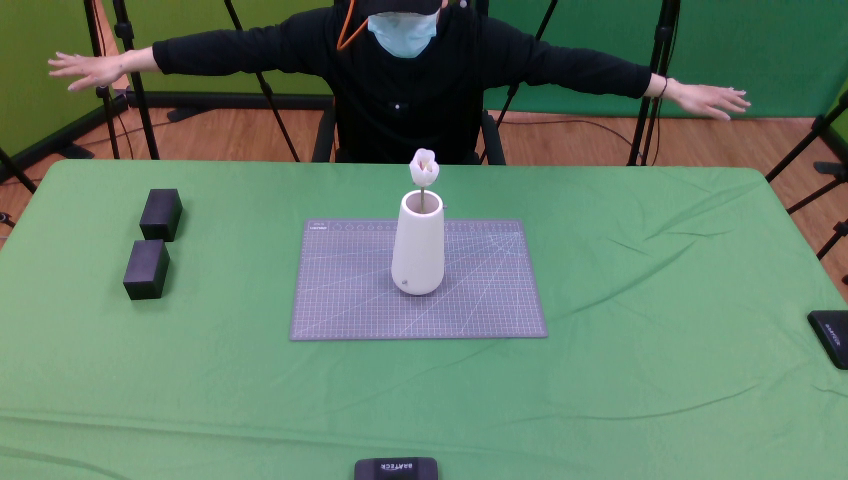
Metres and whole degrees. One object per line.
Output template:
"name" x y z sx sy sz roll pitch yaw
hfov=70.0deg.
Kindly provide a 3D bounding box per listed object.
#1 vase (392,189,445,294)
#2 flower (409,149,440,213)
"vase" -0.007 0.006 1.060 0.098 0.201 0.097 2 48 -2
"flower" -0.005 -0.038 0.989 0.038 0.363 0.044 -31 71 -15
